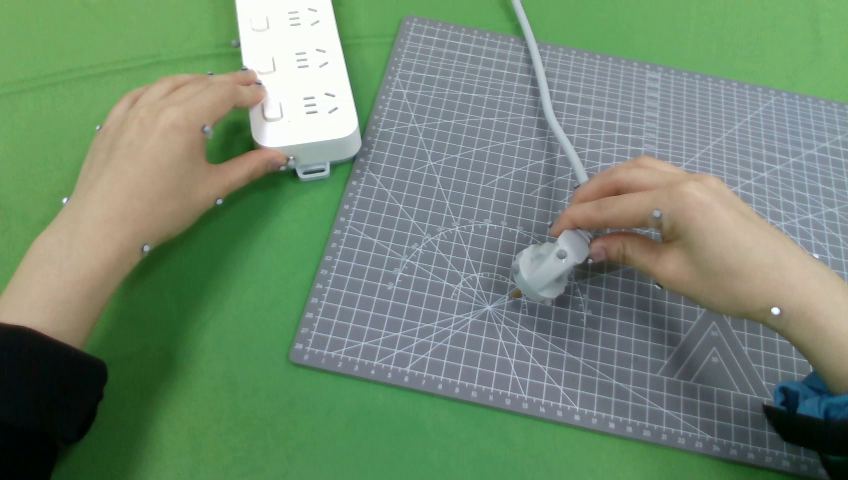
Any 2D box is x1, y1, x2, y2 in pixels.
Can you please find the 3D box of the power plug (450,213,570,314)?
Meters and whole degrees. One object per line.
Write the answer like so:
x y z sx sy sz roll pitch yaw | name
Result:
0.050 0.012 0.353 0.073 0.035 0.052 -7 75 -9 | power plug

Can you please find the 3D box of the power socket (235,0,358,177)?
-0.100 -0.148 0.451 0.072 0.033 0.224 -9 63 -10 | power socket
